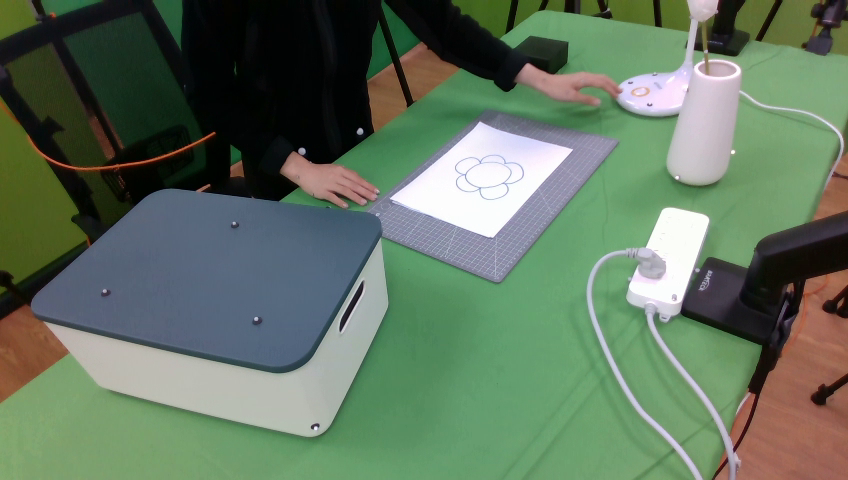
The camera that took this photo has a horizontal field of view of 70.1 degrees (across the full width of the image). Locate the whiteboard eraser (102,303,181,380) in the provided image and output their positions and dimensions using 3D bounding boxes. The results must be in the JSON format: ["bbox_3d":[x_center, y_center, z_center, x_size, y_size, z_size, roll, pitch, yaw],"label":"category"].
[{"bbox_3d":[-0.384,0.139,0.827,0.055,0.042,0.112,8,41,6],"label":"whiteboard eraser"}]

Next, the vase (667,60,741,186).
[{"bbox_3d":[0.463,-0.189,0.994,0.098,0.201,0.097,-4,40,4],"label":"vase"}]

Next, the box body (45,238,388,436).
[{"bbox_3d":[-0.251,0.088,0.799,0.362,0.161,0.254,7,42,16],"label":"box body"}]

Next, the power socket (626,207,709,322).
[{"bbox_3d":[0.360,0.026,0.886,0.072,0.033,0.227,17,46,27],"label":"power socket"}]

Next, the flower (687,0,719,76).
[{"bbox_3d":[0.436,-0.242,0.934,0.038,0.364,0.043,-24,49,9],"label":"flower"}]

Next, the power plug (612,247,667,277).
[{"bbox_3d":[0.306,0.031,0.852,0.072,0.053,0.035,22,48,37],"label":"power plug"}]

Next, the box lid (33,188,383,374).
[{"bbox_3d":[-0.257,0.032,0.751,0.370,0.015,0.263,8,42,16],"label":"box lid"}]

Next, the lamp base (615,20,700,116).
[{"bbox_3d":[0.484,-0.364,1.211,0.180,0.181,0.159,-15,41,-14],"label":"lamp base"}]
